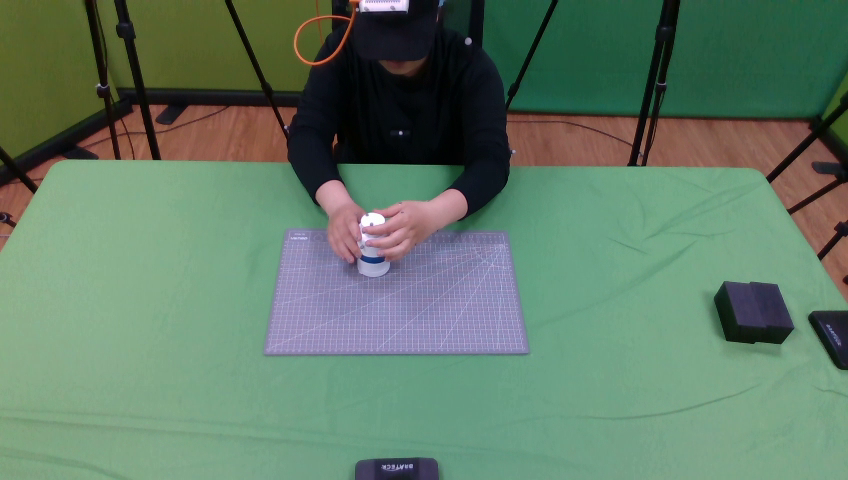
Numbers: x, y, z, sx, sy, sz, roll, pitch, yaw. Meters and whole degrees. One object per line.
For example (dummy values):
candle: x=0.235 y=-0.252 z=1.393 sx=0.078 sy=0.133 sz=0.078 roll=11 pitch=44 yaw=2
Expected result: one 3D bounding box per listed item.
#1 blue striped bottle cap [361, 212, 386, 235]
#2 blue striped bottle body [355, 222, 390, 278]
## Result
blue striped bottle cap: x=-0.090 y=-0.029 z=1.076 sx=0.044 sy=0.021 sz=0.044 roll=-1 pitch=48 yaw=1
blue striped bottle body: x=-0.095 y=0.008 z=1.112 sx=0.063 sy=0.121 sz=0.062 roll=2 pitch=45 yaw=-2
